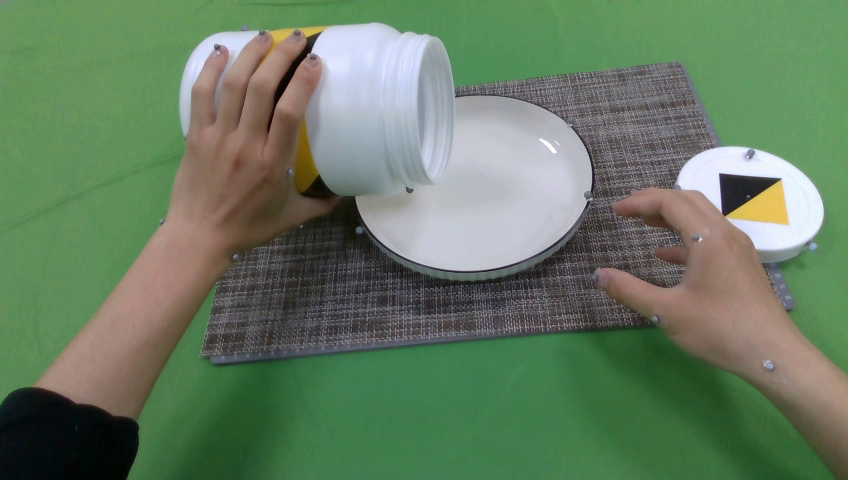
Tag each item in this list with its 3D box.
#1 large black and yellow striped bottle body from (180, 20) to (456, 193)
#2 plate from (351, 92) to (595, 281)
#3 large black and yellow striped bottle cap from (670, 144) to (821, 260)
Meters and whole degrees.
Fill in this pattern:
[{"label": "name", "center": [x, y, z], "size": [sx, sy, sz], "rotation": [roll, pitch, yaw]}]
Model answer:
[{"label": "large black and yellow striped bottle body", "center": [-0.076, -0.103, 0.478], "size": [0.183, 0.132, 0.130], "rotation": [3, 54, 16]}, {"label": "plate", "center": [0.042, -0.048, 0.530], "size": [0.207, 0.039, 0.205], "rotation": [-4, 53, 5]}, {"label": "large black and yellow striped bottle cap", "center": [0.266, -0.035, 0.502], "size": [0.115, 0.019, 0.114], "rotation": [-1, 54, 2]}]
